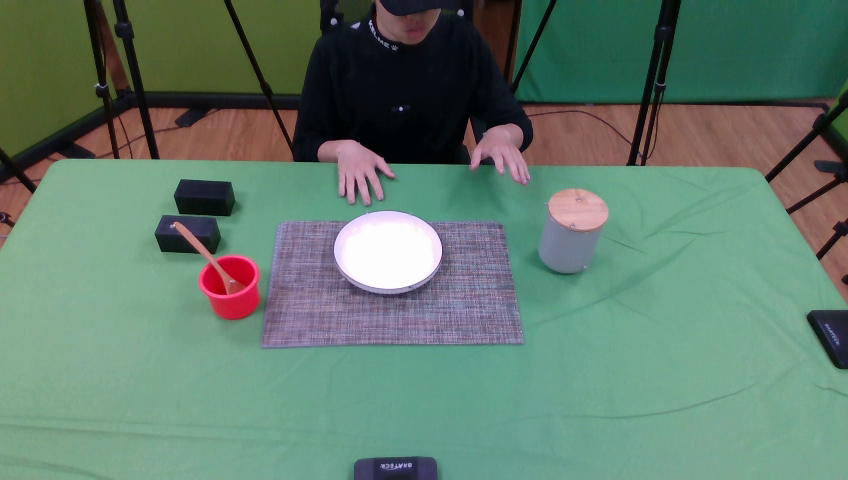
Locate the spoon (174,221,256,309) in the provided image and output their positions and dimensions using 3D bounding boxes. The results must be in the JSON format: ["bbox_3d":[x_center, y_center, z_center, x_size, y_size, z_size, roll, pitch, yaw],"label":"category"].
[{"bbox_3d":[-0.360,0.043,1.043,0.194,0.021,0.041,55,52,-14],"label":"spoon"}]

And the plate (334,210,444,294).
[{"bbox_3d":[-0.066,0.026,1.150,0.208,0.039,0.206,2,46,-2],"label":"plate"}]

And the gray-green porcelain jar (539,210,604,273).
[{"bbox_3d":[0.277,-0.007,1.151,0.106,0.127,0.105,2,46,-1],"label":"gray-green porcelain jar"}]

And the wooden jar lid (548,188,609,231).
[{"bbox_3d":[0.280,-0.052,1.105,0.108,0.021,0.107,0,48,0],"label":"wooden jar lid"}]
